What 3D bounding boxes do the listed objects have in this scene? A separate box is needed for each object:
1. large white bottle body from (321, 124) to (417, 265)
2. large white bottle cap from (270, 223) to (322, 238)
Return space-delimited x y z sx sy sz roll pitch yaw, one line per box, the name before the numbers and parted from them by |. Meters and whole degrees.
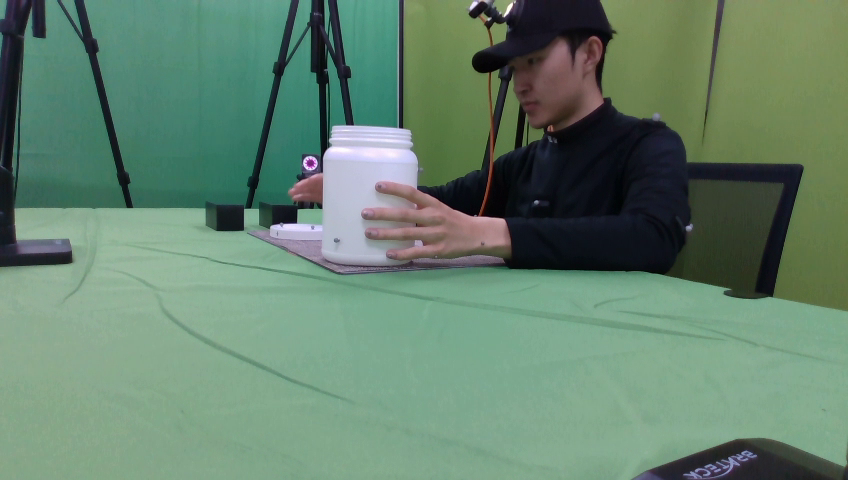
large white bottle body | -0.076 -0.064 0.836 0.131 0.184 0.130 2 8 0
large white bottle cap | -0.217 -0.018 1.084 0.115 0.018 0.115 2 7 0
